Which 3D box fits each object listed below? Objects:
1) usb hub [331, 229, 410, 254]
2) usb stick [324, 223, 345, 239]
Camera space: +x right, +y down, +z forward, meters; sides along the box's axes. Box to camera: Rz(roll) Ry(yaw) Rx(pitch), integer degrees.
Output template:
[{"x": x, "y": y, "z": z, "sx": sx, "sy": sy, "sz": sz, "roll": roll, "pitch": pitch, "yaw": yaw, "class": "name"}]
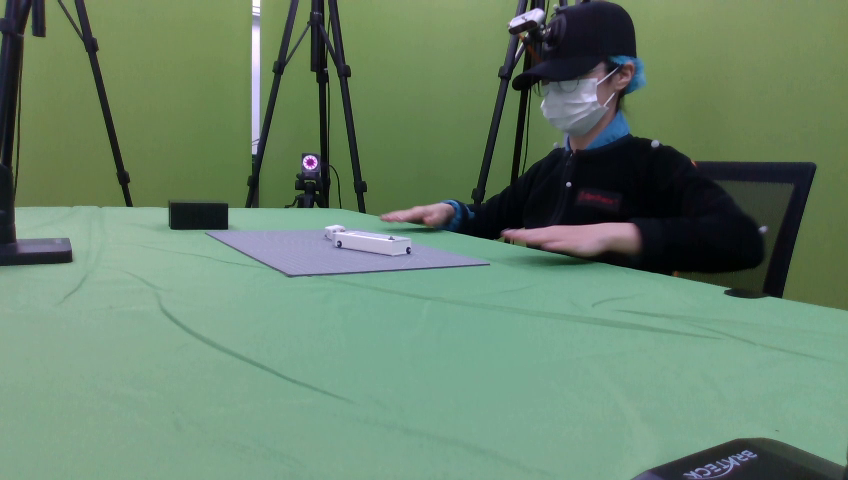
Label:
[{"x": -0.084, "y": 0.001, "z": 0.945, "sx": 0.124, "sy": 0.025, "sz": 0.050, "roll": 7, "pitch": 9, "yaw": 36, "class": "usb hub"}, {"x": -0.153, "y": -0.015, "z": 1.051, "sx": 0.027, "sy": 0.021, "sz": 0.059, "roll": -14, "pitch": 12, "yaw": -25, "class": "usb stick"}]
